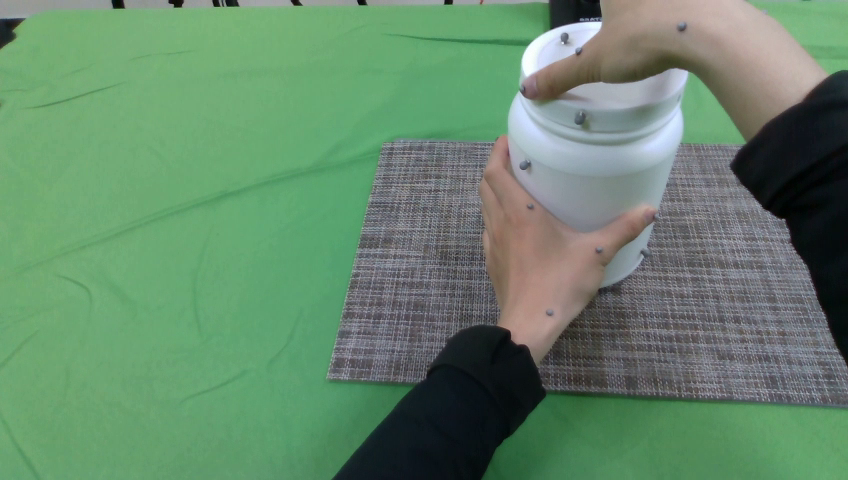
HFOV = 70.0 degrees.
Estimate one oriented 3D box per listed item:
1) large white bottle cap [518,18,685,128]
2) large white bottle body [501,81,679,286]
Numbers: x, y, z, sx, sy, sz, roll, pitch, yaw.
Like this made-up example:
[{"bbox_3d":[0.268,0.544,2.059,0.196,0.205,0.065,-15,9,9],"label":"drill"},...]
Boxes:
[{"bbox_3d":[0.125,-0.122,0.432,0.115,0.018,0.113,-2,49,3],"label":"large white bottle cap"},{"bbox_3d":[0.130,-0.065,0.498,0.130,0.186,0.129,-2,49,3],"label":"large white bottle body"}]
